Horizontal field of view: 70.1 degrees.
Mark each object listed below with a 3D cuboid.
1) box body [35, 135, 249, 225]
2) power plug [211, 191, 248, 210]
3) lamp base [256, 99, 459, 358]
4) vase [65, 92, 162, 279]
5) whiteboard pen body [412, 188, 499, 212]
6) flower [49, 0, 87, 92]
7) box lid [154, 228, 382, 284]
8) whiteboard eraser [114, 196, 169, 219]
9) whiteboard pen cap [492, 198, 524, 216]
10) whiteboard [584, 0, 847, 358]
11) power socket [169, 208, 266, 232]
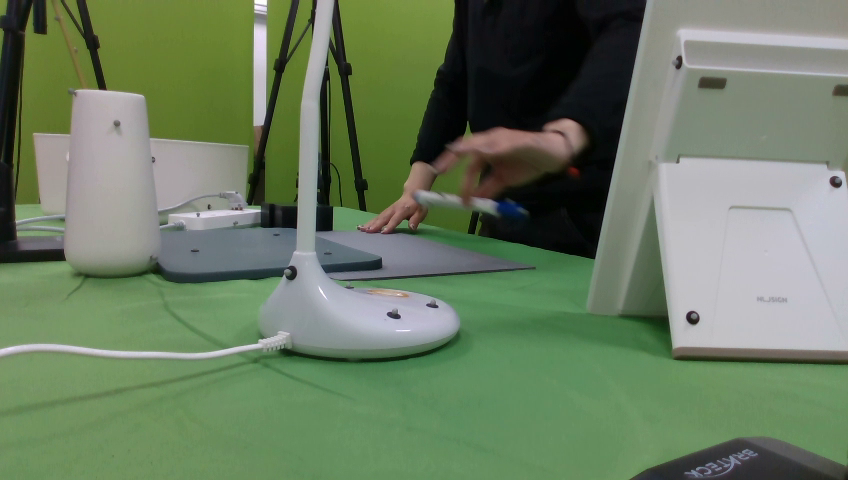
[{"bbox_3d":[-0.561,-0.127,1.258,0.254,0.160,0.365,4,8,13],"label":"box body"},{"bbox_3d":[-0.384,-0.071,1.206,0.072,0.052,0.035,1,7,27],"label":"power plug"},{"bbox_3d":[-0.055,-0.013,0.463,0.160,0.180,0.180,6,11,27],"label":"lamp base"},{"bbox_3d":[-0.347,-0.060,0.673,0.098,0.200,0.098,1,7,0],"label":"vase"},{"bbox_3d":[0.046,-0.046,0.713,0.140,0.017,0.017,11,11,32],"label":"whiteboard pen body"},{"bbox_3d":[-0.361,-0.142,0.658,0.038,0.361,0.044,-13,11,11],"label":"flower"},{"bbox_3d":[-0.250,0.014,0.853,0.265,0.015,0.369,-3,9,-32],"label":"box lid"},{"bbox_3d":[-0.546,-0.063,1.174,0.055,0.042,0.112,5,6,3],"label":"whiteboard eraser"},{"bbox_3d":[0.094,-0.038,0.681,0.033,0.018,0.018,15,13,31],"label":"whiteboard pen cap"},{"bbox_3d":[0.269,-0.034,0.466,0.217,0.305,0.143,2,27,-1],"label":"whiteboard"},{"bbox_3d":[-0.379,-0.038,1.130,0.072,0.032,0.227,4,8,18],"label":"power socket"}]
